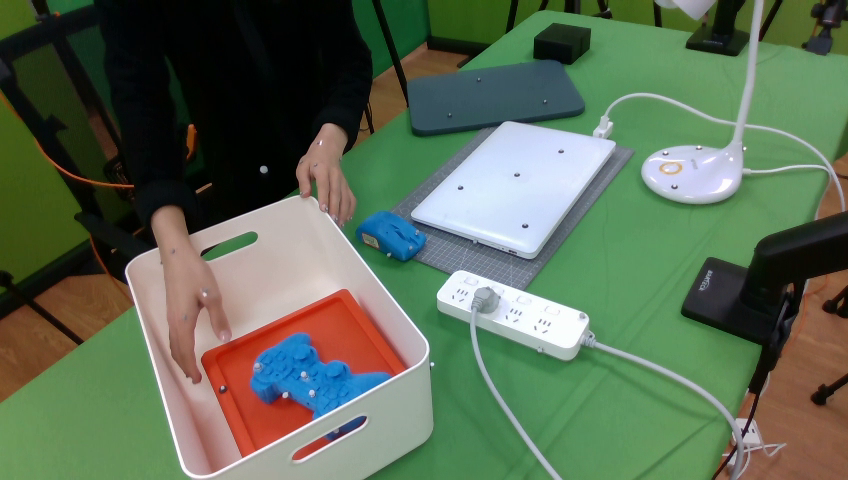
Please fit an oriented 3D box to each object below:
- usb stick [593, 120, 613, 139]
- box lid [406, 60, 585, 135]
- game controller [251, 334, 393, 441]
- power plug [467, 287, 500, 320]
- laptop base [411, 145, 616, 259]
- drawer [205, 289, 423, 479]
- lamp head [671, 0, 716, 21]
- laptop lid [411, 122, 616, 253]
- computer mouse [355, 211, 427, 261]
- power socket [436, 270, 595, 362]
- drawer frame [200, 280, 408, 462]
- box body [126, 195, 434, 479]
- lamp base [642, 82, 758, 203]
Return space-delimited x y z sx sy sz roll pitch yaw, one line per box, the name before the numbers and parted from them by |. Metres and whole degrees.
usb stick | 0.336 -0.201 1.146 0.021 0.027 0.059 25 52 27
box lid | 0.150 -0.320 1.340 0.372 0.015 0.261 -8 40 0
game controller | -0.120 0.156 0.676 0.154 0.052 0.097 20 50 28
power plug | 0.073 0.092 0.814 0.035 0.053 0.073 29 54 34
laptop base | 0.168 -0.101 1.073 0.234 0.023 0.355 17 46 31
drawer | -0.134 0.188 0.743 0.195 0.073 0.210 -24 54 -21
lamp head | 0.375 -0.373 0.807 0.122 0.113 0.112 -40 27 32
laptop lid | 0.165 -0.111 1.067 0.240 0.013 0.357 19 46 31
computer mouse | -0.055 -0.010 0.979 0.116 0.041 0.063 27 49 29
power socket | 0.118 0.101 0.832 0.225 0.033 0.072 19 48 27
drawer frame | -0.132 0.176 0.729 0.202 0.083 0.211 -27 50 -19
box body | -0.175 0.131 0.737 0.255 0.161 0.360 -25 43 -19
lamp base | 0.464 -0.174 0.992 0.179 0.181 0.159 -5 41 -1
